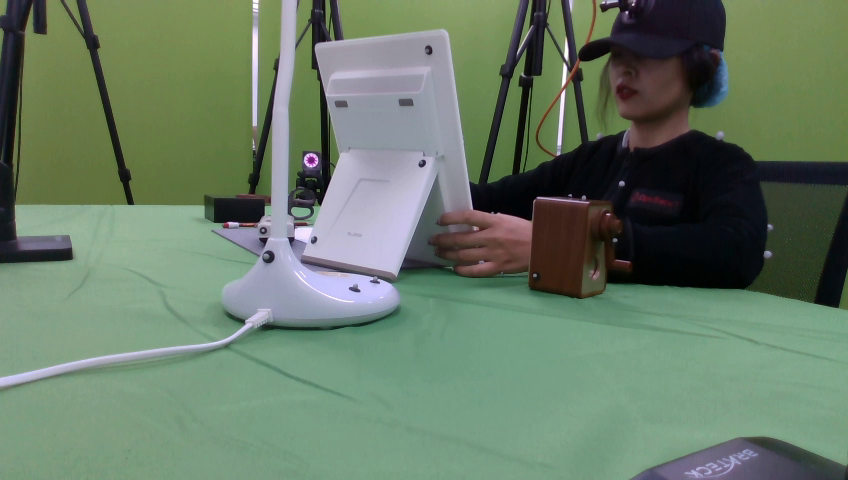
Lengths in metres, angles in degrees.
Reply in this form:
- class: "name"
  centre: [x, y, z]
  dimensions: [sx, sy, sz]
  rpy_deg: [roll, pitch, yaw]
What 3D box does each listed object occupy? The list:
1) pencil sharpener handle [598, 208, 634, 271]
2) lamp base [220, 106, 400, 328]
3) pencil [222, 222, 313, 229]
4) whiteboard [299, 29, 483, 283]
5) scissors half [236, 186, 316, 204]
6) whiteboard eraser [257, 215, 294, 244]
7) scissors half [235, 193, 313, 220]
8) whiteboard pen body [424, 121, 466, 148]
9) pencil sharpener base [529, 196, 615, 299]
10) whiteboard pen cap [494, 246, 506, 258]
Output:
- class: "pencil sharpener handle"
  centre: [0.208, 0.000, 0.645]
  dimensions: [0.030, 0.068, 0.036]
  rpy_deg: [10, 23, 42]
- class: "lamp base"
  centre: [-0.101, -0.023, 0.531]
  dimensions: [0.160, 0.180, 0.179]
  rpy_deg: [4, 10, 10]
- class: "pencil"
  centre: [-0.302, -0.030, 1.189]
  dimensions: [0.195, 0.012, 0.012]
  rpy_deg: [-2, 9, -42]
- class: "whiteboard"
  centre: [-0.074, -0.082, 0.741]
  dimensions: [0.216, 0.305, 0.144]
  rpy_deg: [9, 30, 38]
- class: "scissors half"
  centre: [-0.320, -0.097, 1.316]
  dimensions: [0.176, 0.040, 0.013]
  rpy_deg: [-4, 13, -29]
- class: "whiteboard eraser"
  centre: [-0.232, -0.016, 0.951]
  dimensions: [0.056, 0.042, 0.112]
  rpy_deg: [2, 7, -12]
- class: "scissors half"
  centre: [-0.325, -0.077, 1.320]
  dimensions: [0.176, 0.040, 0.012]
  rpy_deg: [17, 8, -32]
- class: "whiteboard pen body"
  centre: [0.033, -0.166, 0.947]
  dimensions: [0.017, 0.017, 0.141]
  rpy_deg: [6, -2, 28]
- class: "pencil sharpener base"
  centre: [0.168, 0.007, 0.678]
  dimensions: [0.076, 0.107, 0.062]
  rpy_deg: [10, 10, 42]
- class: "whiteboard pen cap"
  centre: [0.117, 0.019, 0.932]
  dimensions: [0.018, 0.018, 0.033]
  rpy_deg: [3, 5, 5]
